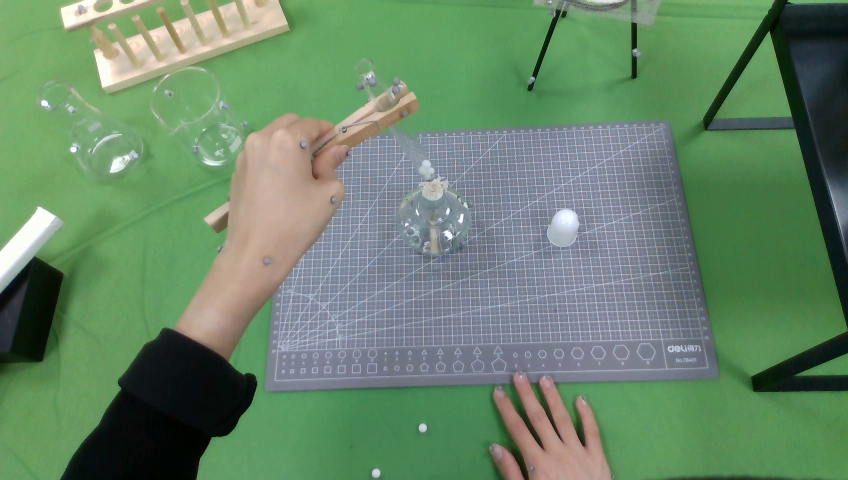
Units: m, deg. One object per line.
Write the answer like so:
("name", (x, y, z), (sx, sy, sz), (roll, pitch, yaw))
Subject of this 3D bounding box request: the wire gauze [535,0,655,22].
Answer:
("wire gauze", (0.185, -0.283, 0.626), (0.121, 0.011, 0.124), (19, 71, 8))

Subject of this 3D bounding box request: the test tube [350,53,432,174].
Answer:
("test tube", (-0.022, -0.094, 0.483), (0.017, 0.152, 0.017), (-7, 64, 16))

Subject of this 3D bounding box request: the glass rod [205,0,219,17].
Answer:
("glass rod", (-0.284, -0.337, 0.696), (0.008, 0.201, 0.008), (-4, 61, 8))

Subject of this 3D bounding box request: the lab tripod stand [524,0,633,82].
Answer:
("lab tripod stand", (0.181, -0.255, 0.687), (0.148, 0.132, 0.147), (0, 67, 1))

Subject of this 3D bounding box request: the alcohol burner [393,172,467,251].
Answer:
("alcohol burner", (0.006, -0.034, 0.614), (0.078, 0.120, 0.077), (0, 66, 1))

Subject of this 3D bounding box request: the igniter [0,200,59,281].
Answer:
("igniter", (-0.465, 0.076, 0.589), (0.057, 0.025, 0.275), (25, 70, 22))

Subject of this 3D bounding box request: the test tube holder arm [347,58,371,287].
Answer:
("test tube holder arm", (-0.052, -0.051, 0.478), (0.015, 0.013, 0.178), (-1, 96, -23))

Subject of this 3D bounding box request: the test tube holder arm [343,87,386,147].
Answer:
("test tube holder arm", (-0.047, -0.089, 0.464), (0.015, 0.088, 0.010), (2, 70, -19))

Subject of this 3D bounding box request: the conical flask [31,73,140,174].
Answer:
("conical flask", (-0.377, -0.132, 0.669), (0.075, 0.123, 0.075), (-1, 67, 3))

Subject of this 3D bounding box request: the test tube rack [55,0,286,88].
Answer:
("test tube rack", (-0.304, -0.278, 0.745), (0.242, 0.086, 0.066), (-22, 68, -6))

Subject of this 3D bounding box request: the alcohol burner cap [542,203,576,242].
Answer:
("alcohol burner cap", (0.145, -0.021, 0.641), (0.034, 0.048, 0.033), (-1, 68, 2))

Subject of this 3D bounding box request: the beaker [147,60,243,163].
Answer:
("beaker", (-0.251, -0.136, 0.678), (0.074, 0.101, 0.083), (12, 69, 8))
